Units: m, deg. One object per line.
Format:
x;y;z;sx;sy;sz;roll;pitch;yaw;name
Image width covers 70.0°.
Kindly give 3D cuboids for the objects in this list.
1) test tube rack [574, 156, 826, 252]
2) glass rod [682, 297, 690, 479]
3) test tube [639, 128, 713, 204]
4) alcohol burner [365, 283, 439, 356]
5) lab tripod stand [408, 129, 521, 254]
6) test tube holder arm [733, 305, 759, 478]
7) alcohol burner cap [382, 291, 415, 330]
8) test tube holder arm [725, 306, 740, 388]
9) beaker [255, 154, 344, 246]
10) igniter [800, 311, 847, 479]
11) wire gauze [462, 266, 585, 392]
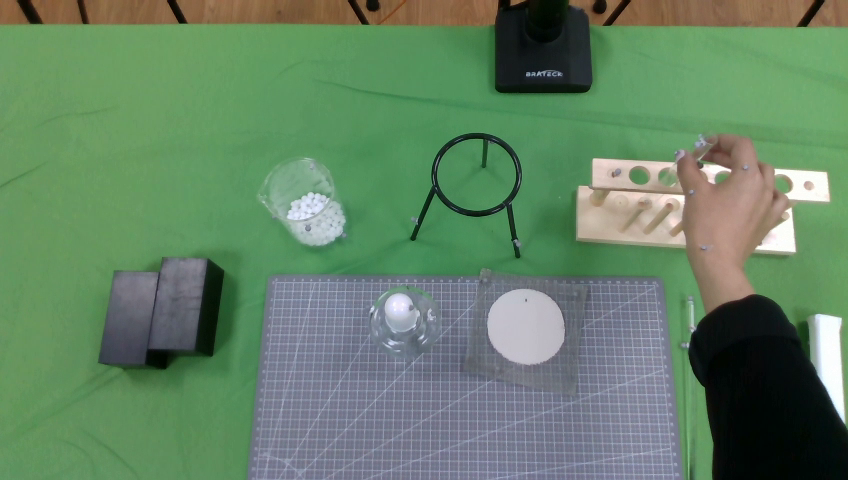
0.296;-0.038;0.670;0.242;0.085;0.066;4;72;3;test tube rack
0.281;0.158;0.648;0.008;0.008;0.198;6;75;3;glass rod
0.257;-0.072;0.630;0.017;0.151;0.017;1;70;-2;test tube
-0.024;0.079;0.624;0.078;0.120;0.077;-1;72;4;alcohol burner
0.049;-0.046;0.654;0.148;0.132;0.147;0;74;2;lab tripod stand
0.339;0.157;0.640;0.013;0.015;0.177;-13;67;38;test tube holder arm
-0.026;0.066;0.590;0.034;0.048;0.033;0;66;1;alcohol burner cap
0.336;0.115;0.657;0.010;0.015;0.087;-11;68;38;test tube holder arm
-0.133;-0.039;0.675;0.084;0.101;0.073;-7;72;0;beaker
0.411;0.209;0.619;0.057;0.025;0.275;10;73;-6;igniter
0.111;0.096;0.671;0.125;0.011;0.121;11;74;4;wire gauze
